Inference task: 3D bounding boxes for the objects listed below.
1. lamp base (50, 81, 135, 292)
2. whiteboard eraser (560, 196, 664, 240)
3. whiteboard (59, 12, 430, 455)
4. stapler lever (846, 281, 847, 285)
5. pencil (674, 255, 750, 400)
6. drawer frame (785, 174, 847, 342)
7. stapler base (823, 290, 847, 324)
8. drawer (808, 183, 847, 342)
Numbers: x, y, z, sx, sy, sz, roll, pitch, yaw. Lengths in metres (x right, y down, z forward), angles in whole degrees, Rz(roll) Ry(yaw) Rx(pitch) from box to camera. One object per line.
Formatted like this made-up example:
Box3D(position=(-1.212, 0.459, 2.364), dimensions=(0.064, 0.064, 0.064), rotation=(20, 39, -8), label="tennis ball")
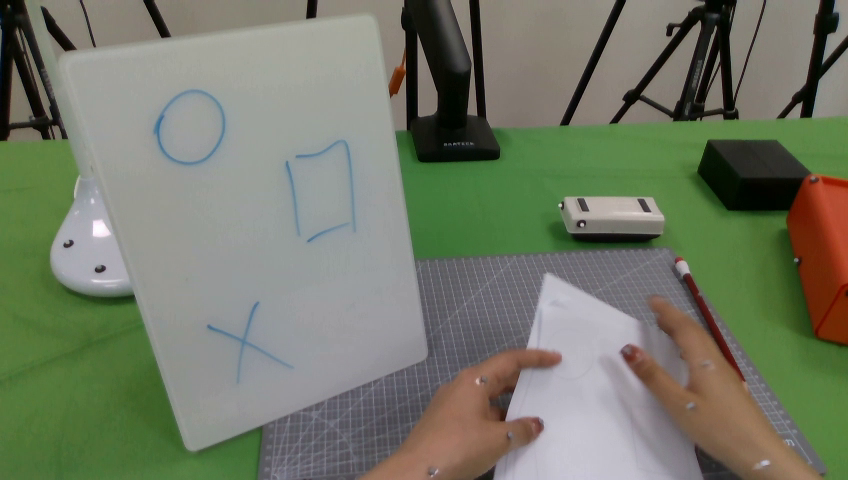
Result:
Box3D(position=(-0.327, -0.063, 0.624), dimensions=(0.178, 0.182, 0.160), rotation=(22, 41, 27), label="lamp base")
Box3D(position=(0.224, -0.027, 0.728), dimensions=(0.113, 0.042, 0.055), rotation=(1, 38, -2), label="whiteboard eraser")
Box3D(position=(-0.139, -0.018, 0.522), dimensions=(0.218, 0.307, 0.142), rotation=(-17, 22, -22), label="whiteboard")
Box3D(position=(0.476, 0.061, 0.590), dimensions=(0.118, 0.040, 0.026), rotation=(14, 46, 8), label="stapler lever")
Box3D(position=(0.288, 0.081, 0.612), dimensions=(0.012, 0.012, 0.192), rotation=(1, 40, -2), label="pencil")
Box3D(position=(0.512, 0.029, 0.638), dimensions=(0.201, 0.083, 0.212), rotation=(11, 37, 12), label="drawer frame")
Box3D(position=(0.472, 0.076, 0.605), dimensions=(0.130, 0.024, 0.041), rotation=(17, 46, 5), label="stapler base")
Box3D(position=(0.513, 0.032, 0.636), dimensions=(0.194, 0.074, 0.210), rotation=(12, 37, 13), label="drawer")
